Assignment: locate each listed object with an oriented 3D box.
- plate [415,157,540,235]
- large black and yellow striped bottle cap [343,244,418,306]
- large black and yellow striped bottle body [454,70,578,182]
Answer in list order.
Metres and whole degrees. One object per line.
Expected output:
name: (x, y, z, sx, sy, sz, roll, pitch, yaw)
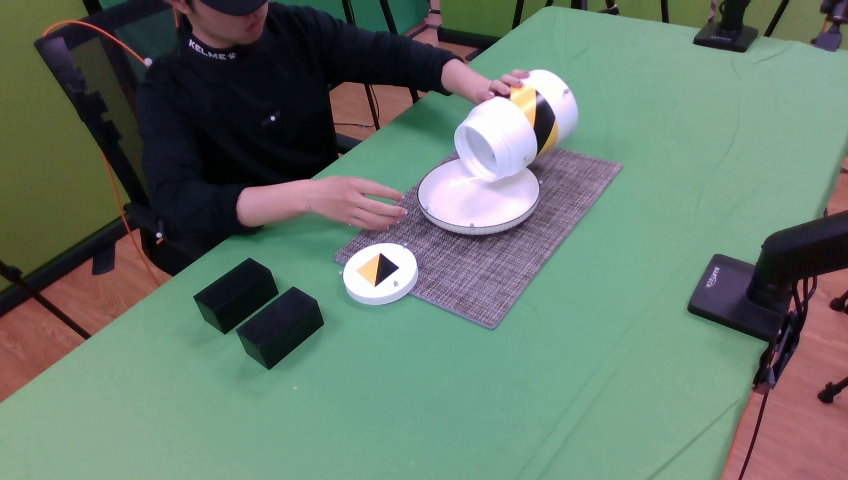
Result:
plate: (0.090, -0.074, 1.025, 0.207, 0.039, 0.206, -4, 41, 4)
large black and yellow striped bottle cap: (-0.066, 0.051, 0.918, 0.115, 0.019, 0.114, -6, 43, 6)
large black and yellow striped bottle body: (0.153, -0.190, 1.022, 0.184, 0.131, 0.129, -36, 48, -22)
